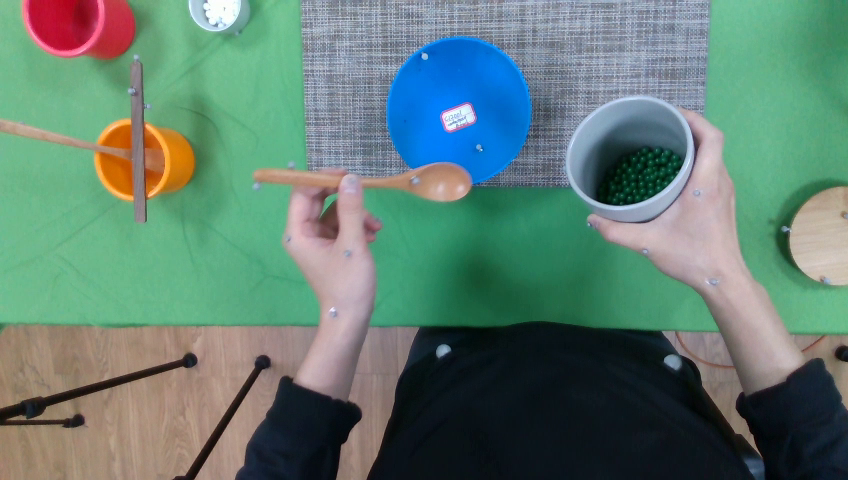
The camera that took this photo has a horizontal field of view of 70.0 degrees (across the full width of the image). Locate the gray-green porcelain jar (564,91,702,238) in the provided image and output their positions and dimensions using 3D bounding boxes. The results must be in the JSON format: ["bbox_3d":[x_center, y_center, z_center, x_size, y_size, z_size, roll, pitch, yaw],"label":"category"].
[{"bbox_3d":[0.199,-0.063,0.565,0.105,0.127,0.105,-9,71,28],"label":"gray-green porcelain jar"}]

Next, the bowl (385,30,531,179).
[{"bbox_3d":[0.038,-0.141,0.655,0.151,0.076,0.152,1,100,6],"label":"bowl"}]

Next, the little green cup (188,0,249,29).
[{"bbox_3d":[-0.230,-0.270,0.686,0.061,0.038,0.062,1,100,7],"label":"little green cup"}]

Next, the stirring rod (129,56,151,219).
[{"bbox_3d":[-0.311,-0.110,0.663,0.014,0.006,0.176,2,100,7],"label":"stirring rod"}]

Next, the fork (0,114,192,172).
[{"bbox_3d":[-0.364,-0.108,0.672,0.209,0.018,0.028,11,106,-40],"label":"fork"}]

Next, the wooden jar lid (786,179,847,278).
[{"bbox_3d":[0.452,-0.013,0.664,0.108,0.020,0.108,1,100,7],"label":"wooden jar lid"}]

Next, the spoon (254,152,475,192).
[{"bbox_3d":[-0.043,-0.058,0.507,0.195,0.021,0.042,-3,134,-30],"label":"spoon"}]
